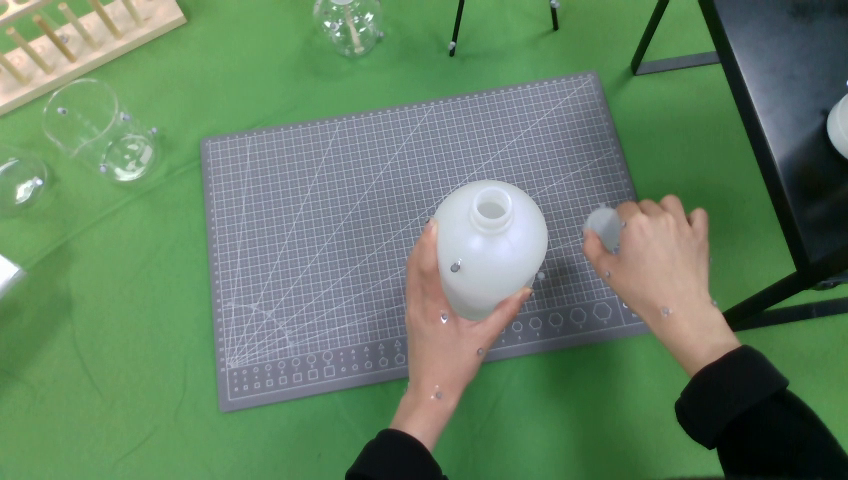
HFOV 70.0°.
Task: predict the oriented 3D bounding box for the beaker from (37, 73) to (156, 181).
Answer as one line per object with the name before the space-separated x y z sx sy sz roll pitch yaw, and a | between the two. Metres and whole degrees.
beaker | -0.331 -0.109 0.623 0.074 0.101 0.083 4 72 4

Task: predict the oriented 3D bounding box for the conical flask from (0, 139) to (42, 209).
conical flask | -0.454 -0.086 0.607 0.075 0.122 0.075 -1 71 2

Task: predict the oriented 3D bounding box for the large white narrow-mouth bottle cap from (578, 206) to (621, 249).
large white narrow-mouth bottle cap | 0.162 -0.012 0.556 0.038 0.024 0.037 0 73 2

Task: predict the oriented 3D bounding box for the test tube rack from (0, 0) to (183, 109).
test tube rack | -0.409 -0.245 0.677 0.242 0.086 0.066 -31 73 -8

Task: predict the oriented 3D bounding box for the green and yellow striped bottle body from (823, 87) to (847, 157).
green and yellow striped bottle body | 0.331 -0.104 0.404 0.063 0.120 0.063 -1 71 2

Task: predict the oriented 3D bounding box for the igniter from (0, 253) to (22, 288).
igniter | -0.477 0.123 0.540 0.057 0.025 0.276 33 72 10

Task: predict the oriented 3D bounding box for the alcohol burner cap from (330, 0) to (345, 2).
alcohol burner cap | -0.092 -0.275 0.626 0.034 0.048 0.033 0 70 1

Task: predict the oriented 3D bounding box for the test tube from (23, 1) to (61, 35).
test tube | -0.434 -0.269 0.633 0.017 0.151 0.017 -2 69 6

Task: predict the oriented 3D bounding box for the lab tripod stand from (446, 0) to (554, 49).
lab tripod stand | 0.079 -0.290 0.654 0.148 0.132 0.147 0 70 1

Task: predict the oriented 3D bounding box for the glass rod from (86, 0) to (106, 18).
glass rod | -0.394 -0.304 0.626 0.008 0.201 0.008 -3 66 8

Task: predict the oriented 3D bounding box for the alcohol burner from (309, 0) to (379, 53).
alcohol burner | -0.089 -0.262 0.660 0.078 0.120 0.077 0 70 1

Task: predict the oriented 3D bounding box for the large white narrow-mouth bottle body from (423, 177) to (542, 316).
large white narrow-mouth bottle body | 0.050 0.002 0.525 0.102 0.196 0.101 -1 73 2
